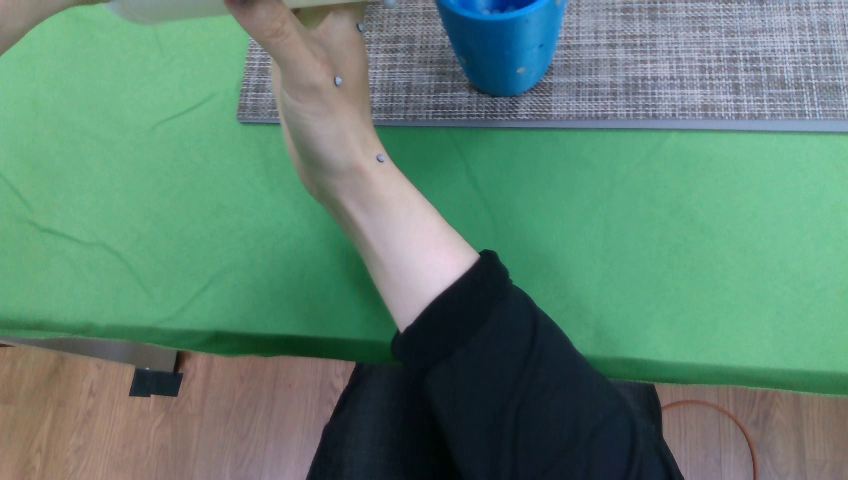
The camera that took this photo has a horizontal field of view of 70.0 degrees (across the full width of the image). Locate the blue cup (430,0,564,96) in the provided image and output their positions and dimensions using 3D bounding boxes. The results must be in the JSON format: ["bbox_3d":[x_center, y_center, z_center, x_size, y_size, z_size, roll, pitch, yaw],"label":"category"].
[{"bbox_3d":[0.048,-0.144,0.386,0.092,0.101,0.092,-3,72,9],"label":"blue cup"}]

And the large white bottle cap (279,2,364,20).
[{"bbox_3d":[-0.082,-0.225,0.472,0.115,0.018,0.114,-2,73,7],"label":"large white bottle cap"}]

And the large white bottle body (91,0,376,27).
[{"bbox_3d":[-0.063,-0.173,0.271,0.184,0.131,0.129,-6,72,2],"label":"large white bottle body"}]
